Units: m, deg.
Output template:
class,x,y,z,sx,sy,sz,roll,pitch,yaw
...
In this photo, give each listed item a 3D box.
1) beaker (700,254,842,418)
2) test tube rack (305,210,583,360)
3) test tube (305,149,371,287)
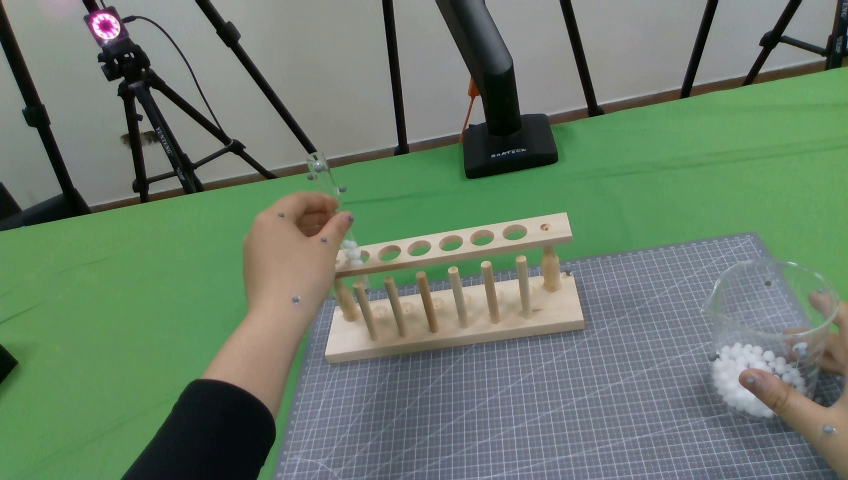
class,x,y,z,sx,sy,sz,roll,pitch,yaw
beaker,0.240,0.072,0.431,0.084,0.101,0.073,-10,38,11
test tube rack,0.017,0.044,0.560,0.242,0.086,0.066,-9,38,9
test tube,-0.072,-0.014,0.532,0.017,0.152,0.017,-9,40,8
